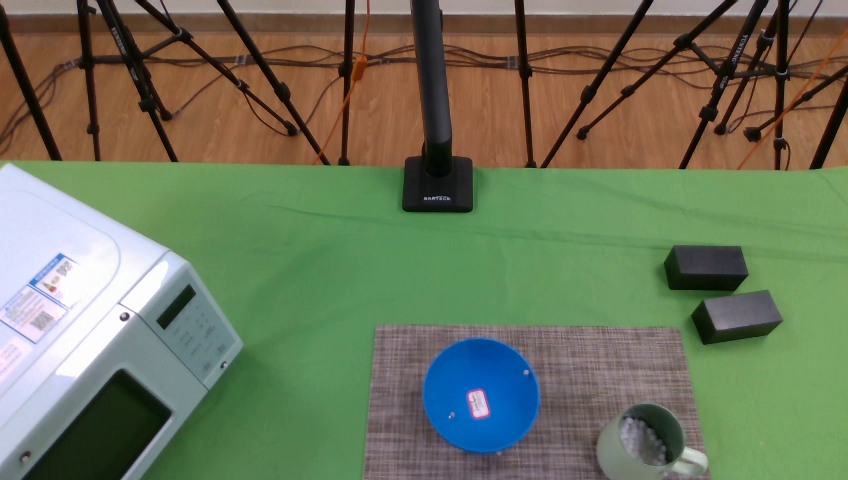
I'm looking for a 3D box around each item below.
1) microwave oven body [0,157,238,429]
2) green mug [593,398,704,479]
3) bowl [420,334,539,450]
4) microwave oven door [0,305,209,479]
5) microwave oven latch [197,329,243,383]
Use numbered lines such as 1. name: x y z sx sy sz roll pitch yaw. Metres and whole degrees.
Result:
1. microwave oven body: -0.507 0.175 0.724 0.324 0.262 0.440 25 62 16
2. green mug: 0.281 0.257 0.752 0.125 0.106 0.092 17 58 12
3. bowl: 0.070 0.210 0.802 0.151 0.077 0.150 0 57 1
4. microwave oven door: -0.400 0.262 0.660 0.039 0.246 0.354 25 61 17
5. microwave oven latch: -0.288 0.158 0.847 0.030 0.030 0.079 27 62 16
